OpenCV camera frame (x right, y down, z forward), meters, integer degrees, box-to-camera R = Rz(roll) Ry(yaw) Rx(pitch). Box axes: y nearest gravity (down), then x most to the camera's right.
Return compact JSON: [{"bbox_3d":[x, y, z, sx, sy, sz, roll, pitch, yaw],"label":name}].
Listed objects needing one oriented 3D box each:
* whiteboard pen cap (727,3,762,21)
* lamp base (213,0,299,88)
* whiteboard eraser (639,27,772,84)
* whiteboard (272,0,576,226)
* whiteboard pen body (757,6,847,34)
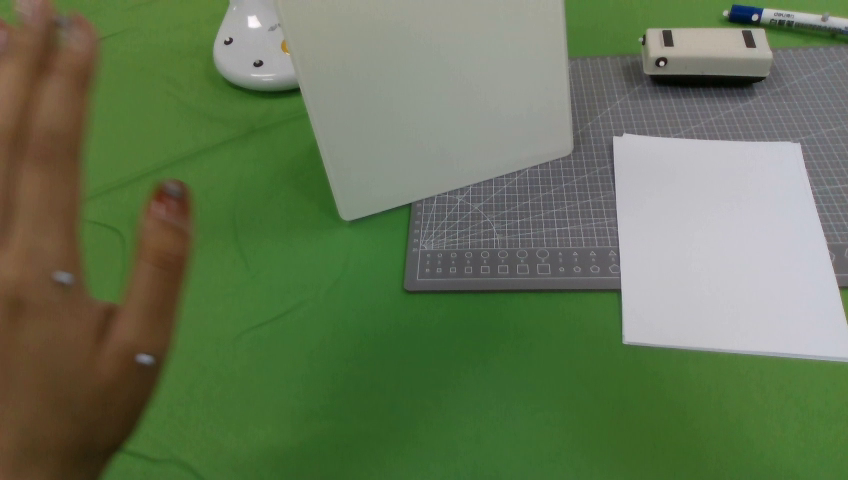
[{"bbox_3d":[0.344,-0.243,0.649,0.033,0.018,0.018,18,55,24],"label":"whiteboard pen cap"},{"bbox_3d":[-0.173,-0.278,0.631,0.177,0.182,0.160,34,61,32],"label":"lamp base"},{"bbox_3d":[0.268,-0.178,0.584,0.112,0.042,0.055,4,52,10],"label":"whiteboard eraser"},{"bbox_3d":[-0.012,-0.202,0.506,0.217,0.308,0.142,-17,31,-7],"label":"whiteboard"},{"bbox_3d":[0.396,-0.228,0.627,0.140,0.017,0.017,18,55,23],"label":"whiteboard pen body"}]
